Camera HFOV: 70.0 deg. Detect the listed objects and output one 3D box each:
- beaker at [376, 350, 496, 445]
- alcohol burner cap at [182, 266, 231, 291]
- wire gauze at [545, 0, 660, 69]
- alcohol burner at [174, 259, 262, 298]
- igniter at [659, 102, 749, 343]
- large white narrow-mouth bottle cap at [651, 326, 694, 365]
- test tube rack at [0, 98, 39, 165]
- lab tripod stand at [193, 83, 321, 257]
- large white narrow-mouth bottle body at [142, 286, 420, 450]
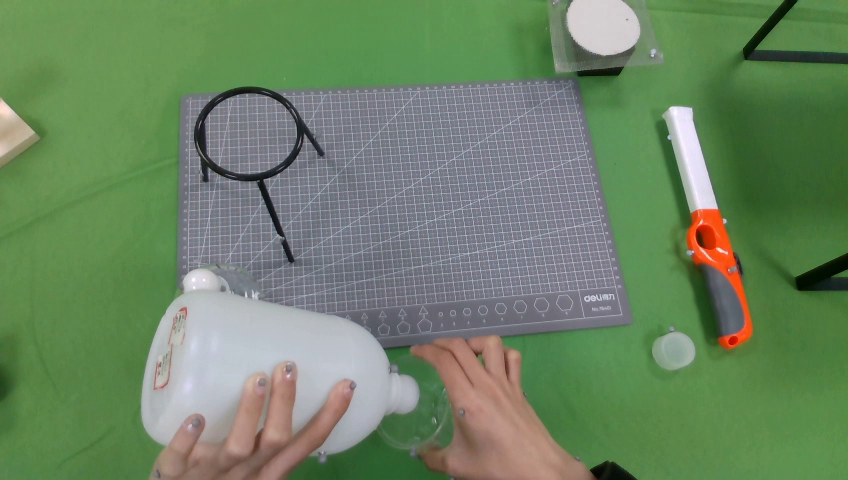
[{"bbox_3d":[0.010,0.140,0.527,0.083,0.101,0.073,2,73,33],"label":"beaker"},{"bbox_3d":[-0.182,0.038,0.502,0.034,0.048,0.033,1,75,-5],"label":"alcohol burner cap"},{"bbox_3d":[0.197,-0.249,0.685,0.121,0.011,0.124,-3,72,-6],"label":"wire gauze"},{"bbox_3d":[-0.185,0.049,0.536,0.078,0.119,0.077,3,69,-6],"label":"alcohol burner"},{"bbox_3d":[0.302,-0.026,0.658,0.057,0.025,0.274,0,71,-17],"label":"igniter"},{"bbox_3d":[0.250,0.107,0.611,0.038,0.024,0.037,1,70,-4],"label":"large white narrow-mouth bottle cap"},{"bbox_3d":[-0.503,-0.063,0.562,0.066,0.085,0.242,42,72,10],"label":"test tube rack"},{"bbox_3d":[-0.152,-0.069,0.570,0.148,0.132,0.147,2,71,-6],"label":"lab tripod stand"},{"bbox_3d":[-0.088,0.100,0.437,0.196,0.101,0.101,17,65,-34],"label":"large white narrow-mouth bottle body"}]
